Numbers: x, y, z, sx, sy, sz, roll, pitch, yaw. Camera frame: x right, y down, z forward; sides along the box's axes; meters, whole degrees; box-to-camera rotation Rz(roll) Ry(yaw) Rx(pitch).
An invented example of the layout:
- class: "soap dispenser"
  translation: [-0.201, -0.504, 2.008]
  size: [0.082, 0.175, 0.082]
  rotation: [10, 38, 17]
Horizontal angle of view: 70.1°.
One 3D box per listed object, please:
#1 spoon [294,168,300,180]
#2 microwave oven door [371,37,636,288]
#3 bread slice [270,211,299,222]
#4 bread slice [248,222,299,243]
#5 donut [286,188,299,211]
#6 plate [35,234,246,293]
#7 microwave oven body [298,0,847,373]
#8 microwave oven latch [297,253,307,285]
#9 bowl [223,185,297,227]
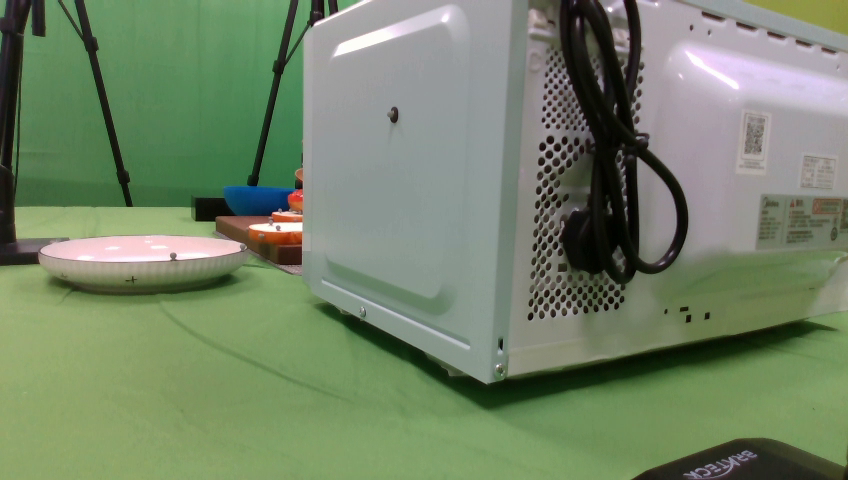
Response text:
- class: "spoon"
  translation: [-0.171, -0.152, 1.117]
  size: [0.041, 0.021, 0.194]
  rotation: [33, 46, 11]
- class: "microwave oven door"
  translation: [0.109, -0.080, 0.686]
  size: [0.358, 0.243, 0.039]
  rotation: [-2, 9, -33]
- class: "bread slice"
  translation: [-0.197, -0.038, 1.051]
  size: [0.132, 0.019, 0.104]
  rotation: [-1, 7, -31]
- class: "bread slice"
  translation: [-0.174, -0.012, 0.844]
  size: [0.135, 0.018, 0.106]
  rotation: [-6, 10, -44]
- class: "donut"
  translation: [-0.190, -0.068, 1.055]
  size: [0.099, 0.048, 0.099]
  rotation: [4, 6, 0]
- class: "plate"
  translation: [-0.305, 0.026, 0.668]
  size: [0.208, 0.039, 0.207]
  rotation: [3, 7, 0]
- class: "microwave oven body"
  translation: [0.151, -0.055, 0.542]
  size: [0.444, 0.260, 0.324]
  rotation: [-2, 7, -33]
- class: "microwave oven latch"
  translation: [-0.082, 0.027, 0.582]
  size: [0.079, 0.029, 0.030]
  rotation: [-1, 7, -32]
- class: "bowl"
  translation: [-0.330, -0.068, 1.230]
  size: [0.151, 0.077, 0.151]
  rotation: [3, 8, 0]
